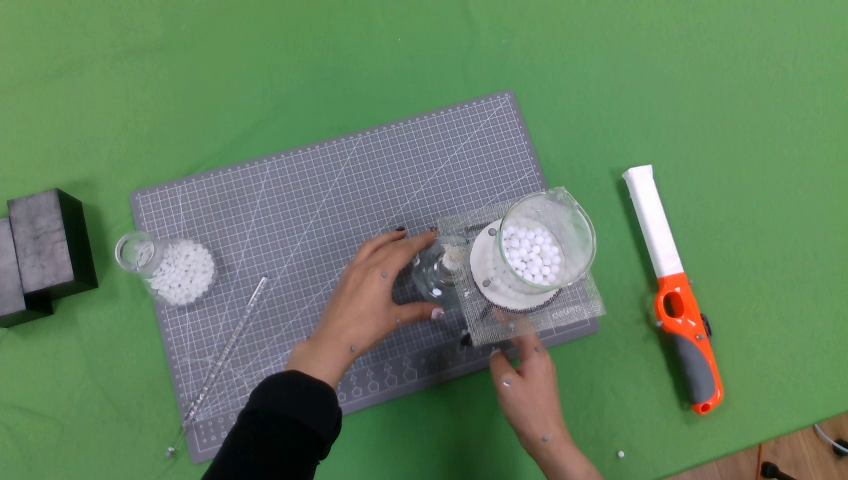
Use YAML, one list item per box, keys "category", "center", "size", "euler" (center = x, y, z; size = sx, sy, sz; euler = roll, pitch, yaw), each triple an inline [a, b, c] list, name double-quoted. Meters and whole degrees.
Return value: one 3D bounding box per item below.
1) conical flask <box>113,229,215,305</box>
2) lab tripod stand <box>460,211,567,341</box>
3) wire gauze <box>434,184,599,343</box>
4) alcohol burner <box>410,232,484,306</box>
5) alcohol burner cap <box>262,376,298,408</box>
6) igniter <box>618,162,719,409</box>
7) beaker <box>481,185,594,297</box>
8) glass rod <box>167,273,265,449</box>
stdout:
- category: "conical flask"
  center: [-0.259, 0.021, 0.595]
  size: [0.075, 0.122, 0.075]
  euler: [1, 78, -3]
- category: "lab tripod stand"
  center: [0.081, 0.036, 0.605]
  size: [0.148, 0.132, 0.148]
  euler: [1, 80, -3]
- category: "wire gauze"
  center: [0.084, 0.020, 0.541]
  size: [0.125, 0.011, 0.121]
  euler: [-14, 82, -7]
- category: "alcohol burner"
  center: [0.024, 0.026, 0.614]
  size: [0.078, 0.119, 0.077]
  euler: [0, 78, -1]
- category: "alcohol burner cap"
  center: [-0.148, 0.155, 0.615]
  size: [0.034, 0.048, 0.033]
  euler: [1, 78, -3]
- category: "igniter"
  center: [0.270, 0.046, 0.671]
  size: [0.057, 0.025, 0.275]
  euler: [-11, 79, -16]
- category: "beaker"
  center: [0.088, 0.005, 0.495]
  size: [0.074, 0.100, 0.083]
  euler: [18, 79, 0]
- category: "glass rod"
  center: [-0.216, 0.123, 0.634]
  size: [0.008, 0.008, 0.199]
  euler: [25, 78, 2]
